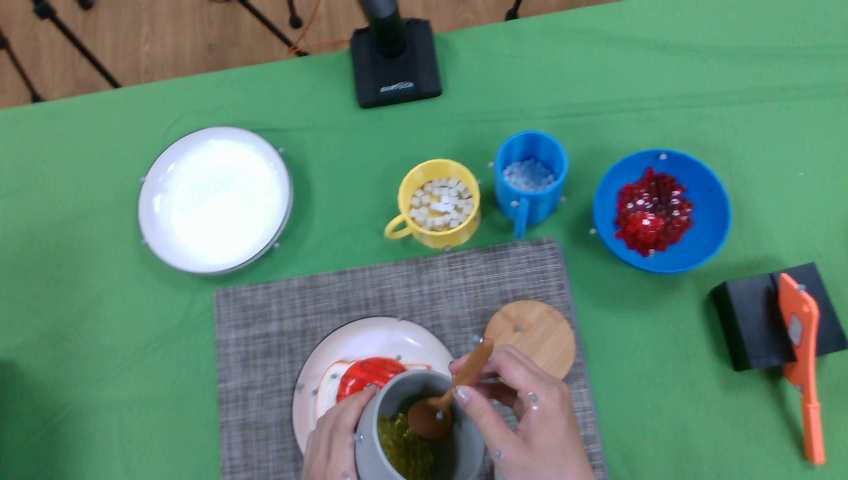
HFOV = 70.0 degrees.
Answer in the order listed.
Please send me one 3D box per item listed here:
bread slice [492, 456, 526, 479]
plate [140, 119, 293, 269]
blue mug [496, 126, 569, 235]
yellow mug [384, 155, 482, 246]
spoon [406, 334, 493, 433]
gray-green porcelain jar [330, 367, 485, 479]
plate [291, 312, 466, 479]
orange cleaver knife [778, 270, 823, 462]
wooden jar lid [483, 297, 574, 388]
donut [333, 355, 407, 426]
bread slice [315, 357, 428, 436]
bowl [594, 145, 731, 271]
[{"bbox_3d":[0.090,0.282,0.630,0.018,0.135,0.106,-1,73,-2],"label":"bread slice"},{"bbox_3d":[-0.273,-0.060,0.812,0.207,0.039,0.206,-1,75,6],"label":"plate"},{"bbox_3d":[0.126,-0.063,0.736,0.082,0.106,0.116,11,76,9],"label":"blue mug"},{"bbox_3d":[0.008,-0.041,0.762,0.131,0.064,0.099,-30,73,-1],"label":"yellow mug"},{"bbox_3d":[0.022,0.123,0.500,0.041,0.195,0.021,27,56,1],"label":"spoon"},{"bbox_3d":[-0.021,0.187,0.545,0.106,0.127,0.105,16,51,-20],"label":"gray-green porcelain jar"},{"bbox_3d":[-0.052,0.190,0.716,0.209,0.038,0.208,-2,74,6],"label":"plate"},{"bbox_3d":[0.410,0.138,0.662,0.012,0.077,0.212,-11,103,4],"label":"orange cleaver knife"},{"bbox_3d":[0.124,0.123,0.726,0.108,0.021,0.108,-1,76,6],"label":"wooden jar lid"},{"bbox_3d":[-0.055,0.180,0.691,0.099,0.048,0.098,-1,75,3],"label":"donut"},{"bbox_3d":[-0.064,0.192,0.722,0.131,0.019,0.104,5,75,3],"label":"bread slice"},{"bbox_3d":[0.275,-0.028,0.724,0.151,0.077,0.150,-2,75,6],"label":"bowl"}]
